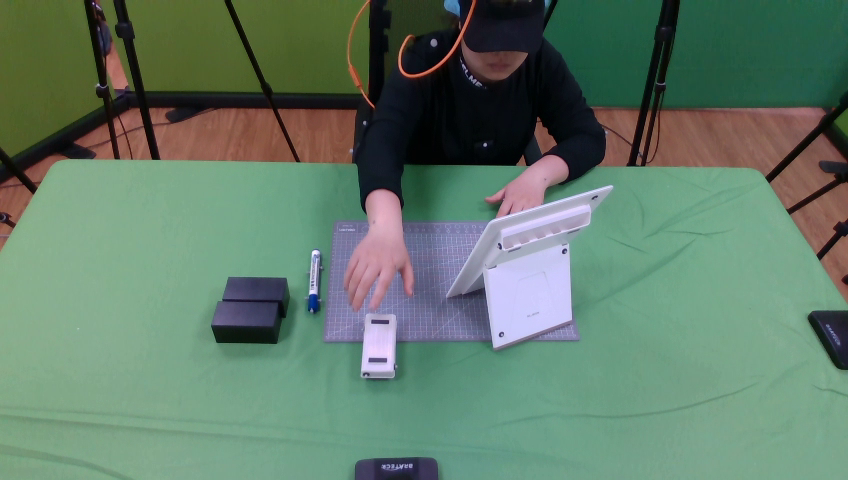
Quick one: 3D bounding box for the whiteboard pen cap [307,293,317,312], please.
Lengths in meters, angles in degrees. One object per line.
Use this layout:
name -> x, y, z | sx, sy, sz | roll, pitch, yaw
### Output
whiteboard pen cap -> -0.199, 0.110, 1.077 | 0.018, 0.018, 0.033 | -2, 48, -5

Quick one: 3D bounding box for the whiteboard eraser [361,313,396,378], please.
whiteboard eraser -> -0.075, 0.176, 1.006 | 0.055, 0.042, 0.112 | 2, 49, -4

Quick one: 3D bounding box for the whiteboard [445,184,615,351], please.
whiteboard -> 0.187, 0.065, 0.989 | 0.217, 0.306, 0.143 | -15, 68, -18

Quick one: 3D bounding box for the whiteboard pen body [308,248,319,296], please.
whiteboard pen body -> -0.204, 0.069, 1.119 | 0.017, 0.017, 0.140 | -1, 46, -5
